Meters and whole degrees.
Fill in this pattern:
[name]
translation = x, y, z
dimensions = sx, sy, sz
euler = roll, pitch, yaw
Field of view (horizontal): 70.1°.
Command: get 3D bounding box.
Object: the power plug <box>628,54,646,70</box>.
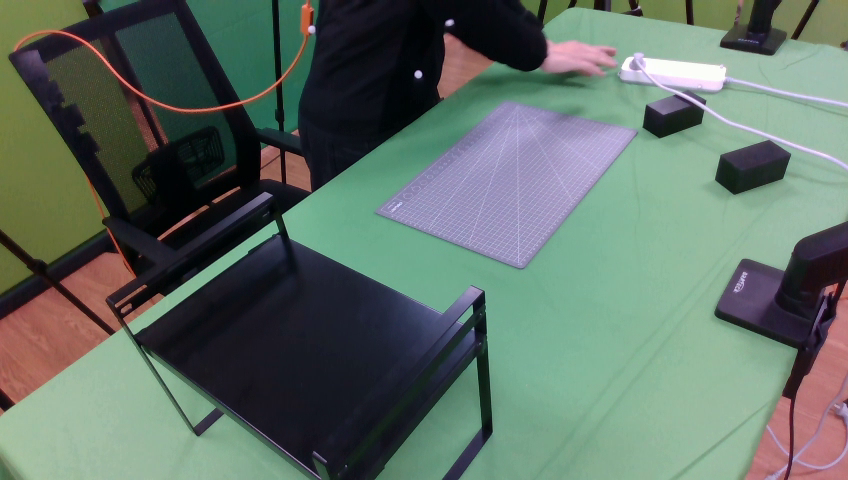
[power plug]
translation = 0.451, -0.371, 1.300
dimensions = 0.035, 0.053, 0.073
euler = 22, 48, 31

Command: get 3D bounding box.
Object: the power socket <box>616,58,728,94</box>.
[power socket]
translation = 0.532, -0.356, 1.303
dimensions = 0.225, 0.033, 0.072
euler = 15, 46, 23
